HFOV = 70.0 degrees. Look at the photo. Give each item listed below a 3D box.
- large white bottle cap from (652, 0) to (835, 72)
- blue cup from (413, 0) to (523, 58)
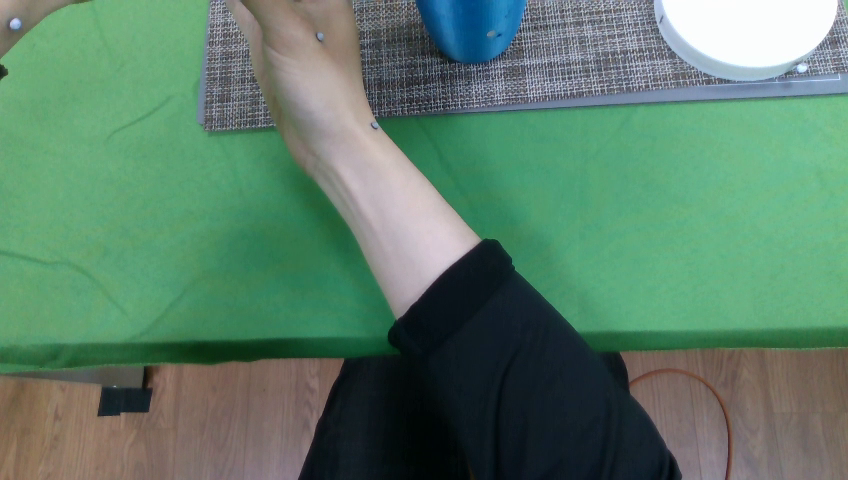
[{"bbox_3d":[0.215,-0.168,0.410,0.115,0.018,0.114,-1,75,5],"label":"large white bottle cap"},{"bbox_3d":[0.028,-0.168,0.384,0.092,0.101,0.092,-2,75,7],"label":"blue cup"}]
